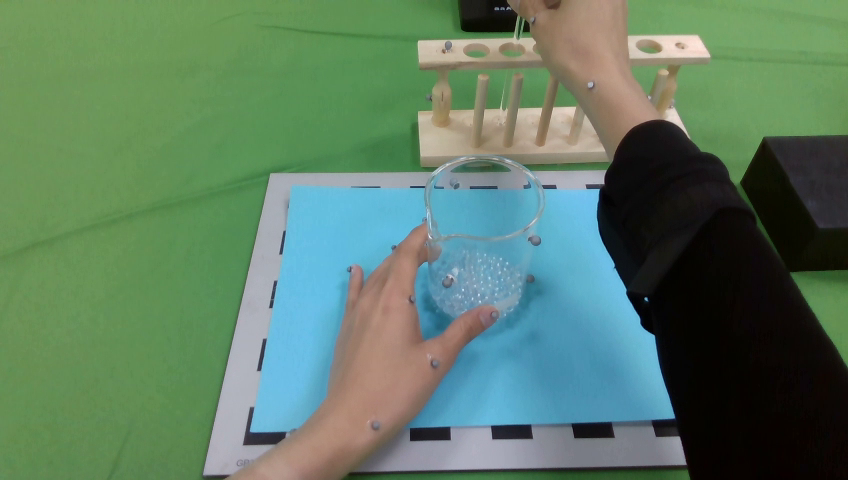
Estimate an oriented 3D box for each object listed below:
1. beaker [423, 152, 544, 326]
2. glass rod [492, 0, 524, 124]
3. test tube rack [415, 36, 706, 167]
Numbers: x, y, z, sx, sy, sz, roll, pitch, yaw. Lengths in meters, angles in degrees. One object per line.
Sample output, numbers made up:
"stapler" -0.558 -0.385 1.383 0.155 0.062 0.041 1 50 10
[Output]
"beaker" 0.034 0.005 0.404 0.084 0.101 0.073 -37 58 -27
"glass rod" 0.073 -0.175 0.487 0.008 0.201 0.008 3 49 -3
"test tube rack" 0.114 -0.121 0.529 0.242 0.086 0.066 -2 49 -2
